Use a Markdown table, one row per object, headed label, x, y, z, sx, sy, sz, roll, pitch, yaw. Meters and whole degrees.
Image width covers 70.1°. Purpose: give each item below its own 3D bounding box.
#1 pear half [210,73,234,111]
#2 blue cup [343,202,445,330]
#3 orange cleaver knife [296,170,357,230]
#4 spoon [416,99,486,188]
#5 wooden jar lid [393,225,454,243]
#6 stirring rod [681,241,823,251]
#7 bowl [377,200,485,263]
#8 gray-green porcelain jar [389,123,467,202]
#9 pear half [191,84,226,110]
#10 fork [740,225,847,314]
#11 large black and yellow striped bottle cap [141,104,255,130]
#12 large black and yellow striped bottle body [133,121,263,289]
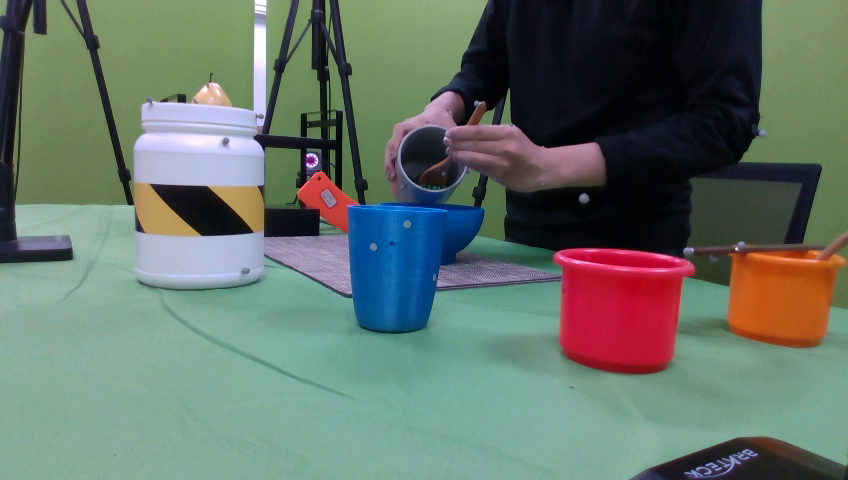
| label | x | y | z | sx | sy | sz | roll | pitch | yaw |
| --- | --- | --- | --- | --- | --- | --- | --- | --- | --- |
| pear half | -0.402 | -0.262 | 1.162 | 0.076 | 0.109 | 0.056 | 6 | 7 | 2 |
| blue cup | -0.027 | 0.021 | 0.510 | 0.093 | 0.100 | 0.092 | 3 | 5 | 0 |
| orange cleaver knife | -0.149 | -0.058 | 1.170 | 0.212 | 0.077 | 0.012 | 32 | -14 | -32 |
| spoon | 0.039 | -0.123 | 0.828 | 0.042 | 0.021 | 0.193 | 11 | -33 | -21 |
| wooden jar lid | -0.001 | -0.011 | 1.058 | 0.108 | 0.020 | 0.108 | 8 | 5 | 0 |
| stirring rod | 0.289 | 0.005 | 0.525 | 0.177 | 0.006 | 0.014 | -1 | 5 | -26 |
| bowl | 0.008 | -0.012 | 0.842 | 0.151 | 0.077 | 0.151 | 3 | 7 | 0 |
| gray-green porcelain jar | 0.001 | -0.107 | 0.933 | 0.106 | 0.105 | 0.126 | 1 | -13 | -10 |
| pear half | -0.406 | -0.248 | 1.128 | 0.070 | 0.088 | 0.031 | 5 | 7 | 2 |
| fork | 0.323 | 0.013 | 0.485 | 0.028 | 0.018 | 0.207 | 8 | -38 | -5 |
| large black and yellow striped bottle cap | -0.241 | -0.131 | 0.650 | 0.115 | 0.019 | 0.115 | 3 | 8 | 0 |
| large black and yellow striped bottle body | -0.243 | -0.048 | 0.659 | 0.131 | 0.184 | 0.130 | 2 | 7 | 0 |
